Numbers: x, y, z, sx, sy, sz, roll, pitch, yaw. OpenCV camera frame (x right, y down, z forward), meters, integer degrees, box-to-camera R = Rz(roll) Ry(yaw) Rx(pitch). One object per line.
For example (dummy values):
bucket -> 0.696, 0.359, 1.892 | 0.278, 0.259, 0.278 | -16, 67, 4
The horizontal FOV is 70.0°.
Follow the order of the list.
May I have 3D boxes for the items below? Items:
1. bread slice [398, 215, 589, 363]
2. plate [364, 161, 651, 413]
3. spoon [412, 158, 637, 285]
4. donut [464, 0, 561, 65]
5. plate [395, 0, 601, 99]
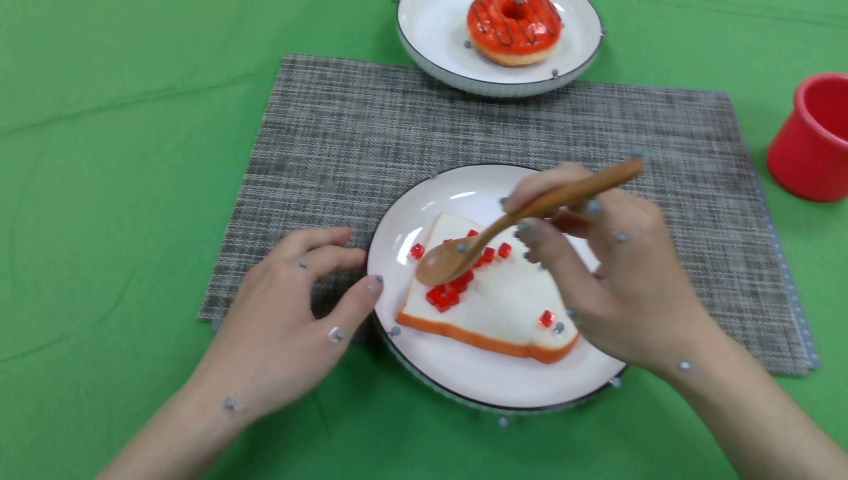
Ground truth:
bread slice -> 0.057, 0.035, 0.453 | 0.131, 0.019, 0.104 | 14, 56, 9
plate -> 0.060, 0.030, 0.452 | 0.209, 0.038, 0.207 | 2, 56, -2
spoon -> 0.046, -0.008, 0.356 | 0.022, 0.193, 0.041 | 39, 58, -12
donut -> 0.089, -0.216, 0.610 | 0.099, 0.048, 0.098 | 2, 56, -3
plate -> 0.073, -0.211, 0.620 | 0.208, 0.039, 0.205 | 2, 54, -3
